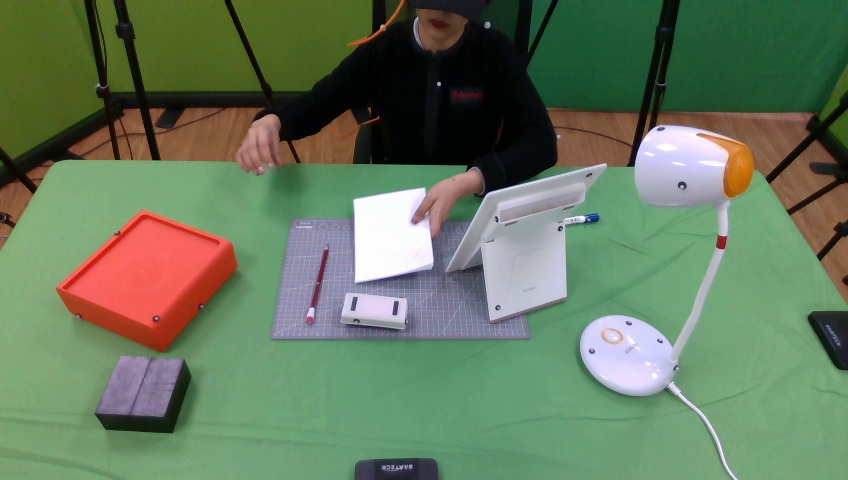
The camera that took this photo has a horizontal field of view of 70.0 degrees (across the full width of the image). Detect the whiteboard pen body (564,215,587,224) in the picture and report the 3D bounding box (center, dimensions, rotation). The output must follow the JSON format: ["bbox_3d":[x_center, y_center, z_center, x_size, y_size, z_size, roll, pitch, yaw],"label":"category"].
[{"bbox_3d":[0.292,-0.040,1.261,0.141,0.017,0.017,-6,47,-11],"label":"whiteboard pen body"}]

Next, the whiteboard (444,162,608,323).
[{"bbox_3d":[0.186,0.026,1.028,0.217,0.306,0.143,-14,68,-18],"label":"whiteboard"}]

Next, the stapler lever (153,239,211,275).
[{"bbox_3d":[-0.436,0.027,1.090,0.118,0.040,0.027,25,51,14],"label":"stapler lever"}]

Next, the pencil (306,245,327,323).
[{"bbox_3d":[-0.196,0.076,1.115,0.012,0.012,0.193,4,44,0],"label":"pencil"}]

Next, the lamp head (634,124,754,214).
[{"bbox_3d":[0.351,-0.089,0.775,0.112,0.113,0.122,-30,30,-28],"label":"lamp head"}]

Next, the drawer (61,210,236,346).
[{"bbox_3d":[-0.474,0.061,1.063,0.194,0.073,0.211,19,49,13],"label":"drawer"}]

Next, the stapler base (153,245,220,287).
[{"bbox_3d":[-0.436,0.042,1.108,0.130,0.024,0.041,23,50,15],"label":"stapler base"}]

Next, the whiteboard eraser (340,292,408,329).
[{"bbox_3d":[-0.087,0.125,1.052,0.113,0.042,0.055,5,45,1],"label":"whiteboard eraser"}]

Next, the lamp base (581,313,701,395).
[{"bbox_3d":[0.361,0.144,0.973,0.178,0.181,0.160,34,53,23],"label":"lamp base"}]

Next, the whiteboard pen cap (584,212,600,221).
[{"bbox_3d":[0.351,-0.049,1.271,0.033,0.018,0.018,-7,47,-11],"label":"whiteboard pen cap"}]

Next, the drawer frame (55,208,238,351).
[{"bbox_3d":[-0.474,0.062,1.059,0.201,0.083,0.213,18,48,12],"label":"drawer frame"}]
